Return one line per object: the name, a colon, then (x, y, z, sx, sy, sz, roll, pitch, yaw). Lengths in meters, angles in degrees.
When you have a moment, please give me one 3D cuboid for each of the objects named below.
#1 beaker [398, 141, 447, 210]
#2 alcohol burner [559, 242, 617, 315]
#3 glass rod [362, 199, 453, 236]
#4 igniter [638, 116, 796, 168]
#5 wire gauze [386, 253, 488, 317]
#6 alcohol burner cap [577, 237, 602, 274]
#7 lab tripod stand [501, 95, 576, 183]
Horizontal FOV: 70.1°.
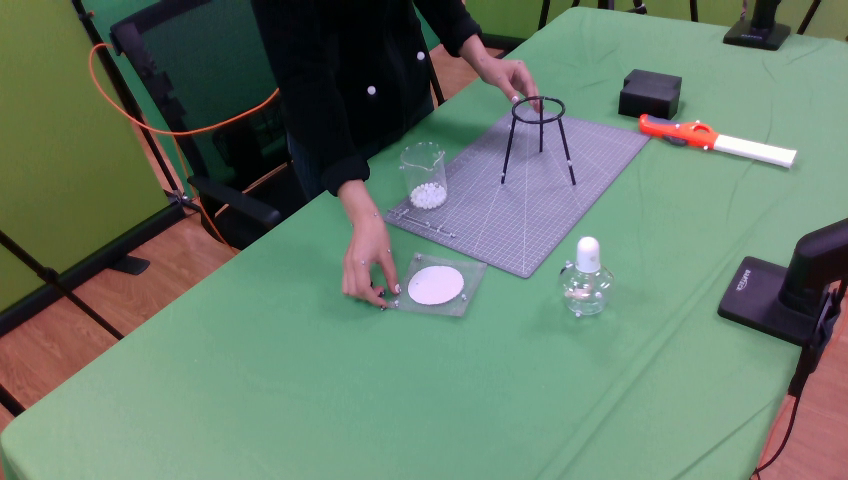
beaker: (0.002, -0.108, 1.043, 0.074, 0.101, 0.083, -19, 42, -11)
alcohol burner: (0.222, 0.045, 0.816, 0.078, 0.119, 0.077, -4, 42, 4)
glass rod: (-0.031, -0.041, 1.041, 0.198, 0.008, 0.008, 22, 50, 31)
igniter: (0.517, -0.181, 1.093, 0.274, 0.025, 0.057, 23, 65, 32)
wire gauze: (0.021, 0.067, 0.910, 0.121, 0.011, 0.125, 9, 40, 20)
alcohol burner cap: (0.217, 0.018, 0.793, 0.034, 0.048, 0.033, -7, 35, 6)
lab tripod stand: (0.204, -0.174, 1.057, 0.148, 0.132, 0.147, -4, 40, 4)
